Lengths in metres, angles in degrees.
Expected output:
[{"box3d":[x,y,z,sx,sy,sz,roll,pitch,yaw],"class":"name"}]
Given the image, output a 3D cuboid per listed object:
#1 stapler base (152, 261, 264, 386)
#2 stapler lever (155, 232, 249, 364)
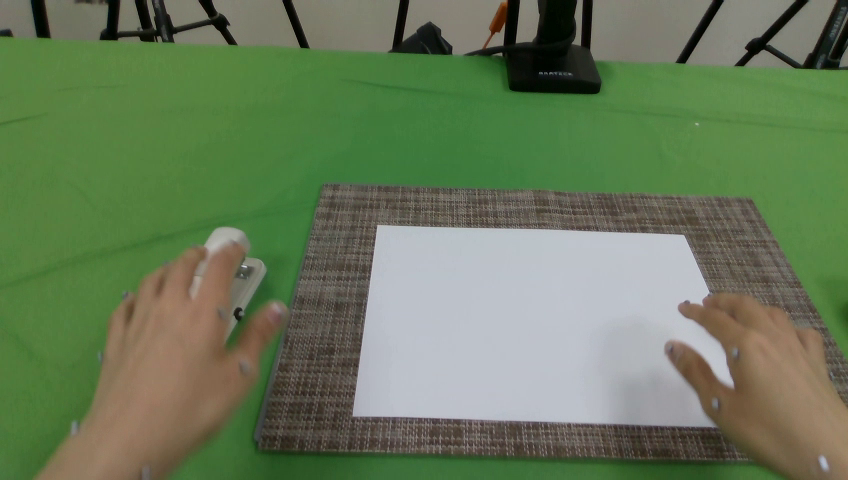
[{"box3d":[-0.174,0.057,0.496,0.041,0.024,0.129,9,44,8],"class":"stapler base"},{"box3d":[-0.173,0.041,0.478,0.027,0.040,0.117,9,43,8],"class":"stapler lever"}]
